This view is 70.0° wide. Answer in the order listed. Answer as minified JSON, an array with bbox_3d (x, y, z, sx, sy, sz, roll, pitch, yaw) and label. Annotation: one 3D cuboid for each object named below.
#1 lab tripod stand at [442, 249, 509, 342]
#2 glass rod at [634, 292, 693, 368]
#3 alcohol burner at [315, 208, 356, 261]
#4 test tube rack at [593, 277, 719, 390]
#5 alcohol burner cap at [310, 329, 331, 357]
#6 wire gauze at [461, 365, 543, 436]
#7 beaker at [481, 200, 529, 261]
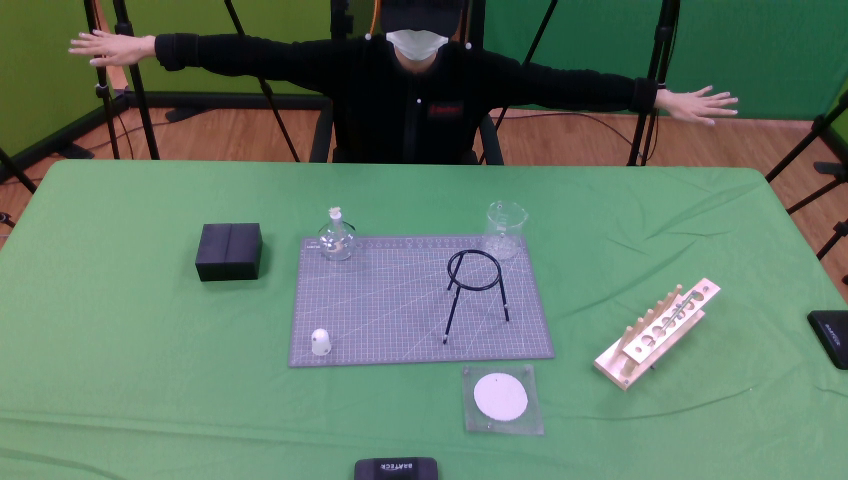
[{"bbox_3d":[0.082,0.090,1.036,0.148,0.132,0.147,3,44,-3],"label":"lab tripod stand"},{"bbox_3d":[0.370,0.146,0.950,0.008,0.200,0.008,8,44,-8],"label":"glass rod"},{"bbox_3d":[-0.166,-0.017,1.134,0.078,0.119,0.077,2,48,-2],"label":"alcohol burner"},{"bbox_3d":[0.401,0.148,1.043,0.242,0.085,0.066,-30,55,-29],"label":"test tube rack"},{"bbox_3d":[-0.173,0.168,1.004,0.034,0.048,0.033,2,46,-2],"label":"alcohol burner cap"},{"bbox_3d":[0.124,0.254,0.973,0.125,0.011,0.120,3,47,-3],"label":"wire gauze"},{"bbox_3d":[0.153,-0.016,1.169,0.084,0.101,0.073,-2,46,-7],"label":"beaker"}]
